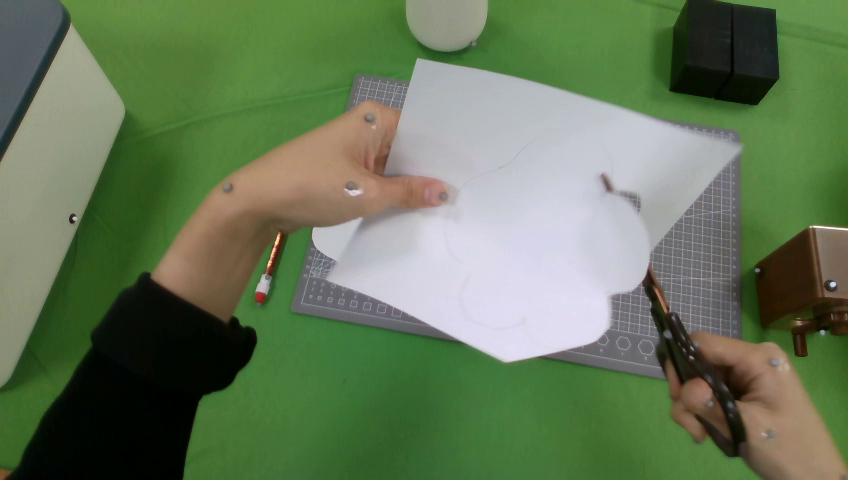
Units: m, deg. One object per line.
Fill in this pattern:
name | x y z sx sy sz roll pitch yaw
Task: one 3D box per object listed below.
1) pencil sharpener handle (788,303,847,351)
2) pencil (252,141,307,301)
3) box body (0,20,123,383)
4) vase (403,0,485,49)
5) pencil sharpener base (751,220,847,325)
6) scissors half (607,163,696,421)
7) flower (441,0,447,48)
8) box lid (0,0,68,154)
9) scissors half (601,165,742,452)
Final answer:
pencil sharpener handle | 0.358 0.080 0.544 0.036 0.068 0.030 10 68 -10
pencil | -0.152 -0.027 0.653 0.012 0.012 0.193 10 67 4
box body | -0.487 -0.055 0.579 0.254 0.161 0.361 9 68 4
vase | 0.022 -0.306 0.661 0.098 0.201 0.097 0 67 1
pencil sharpener base | 0.367 0.038 0.574 0.061 0.108 0.076 5 68 2
scissors half | 0.134 0.034 0.355 0.013 0.039 0.176 -24 111 2
flower | 0.017 -0.350 0.589 0.044 0.365 0.038 3 50 5
box lid | -0.487 -0.085 0.511 0.263 0.015 0.369 10 68 3
scissors half | 0.135 0.038 0.335 0.013 0.040 0.175 -25 90 -3
